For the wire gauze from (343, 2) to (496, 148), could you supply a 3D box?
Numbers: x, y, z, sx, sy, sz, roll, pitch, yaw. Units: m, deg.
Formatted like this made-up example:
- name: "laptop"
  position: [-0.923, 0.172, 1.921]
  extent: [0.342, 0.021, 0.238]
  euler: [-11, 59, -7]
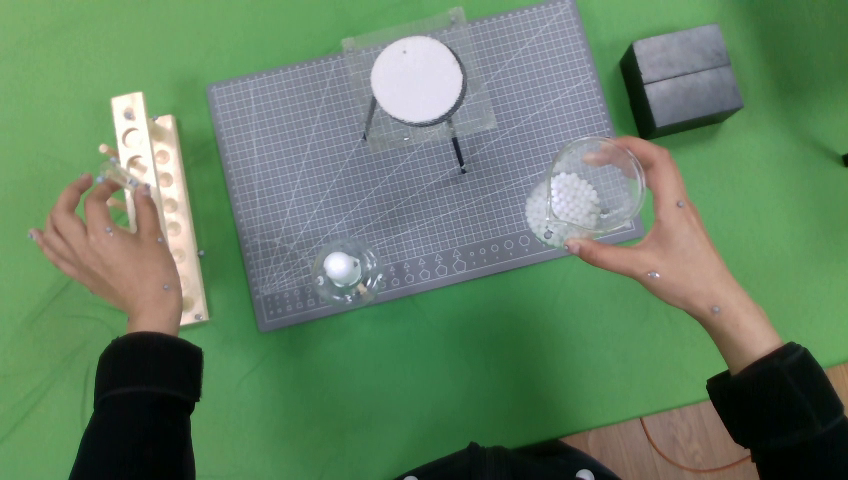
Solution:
- name: "wire gauze"
  position: [-0.005, -0.156, 0.575]
  extent: [0.125, 0.011, 0.121]
  euler: [-13, 84, -1]

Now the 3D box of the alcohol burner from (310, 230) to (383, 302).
- name: "alcohol burner"
  position: [-0.083, 0.026, 0.631]
  extent: [0.078, 0.119, 0.077]
  euler: [0, 82, 0]

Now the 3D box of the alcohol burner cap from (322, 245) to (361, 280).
- name: "alcohol burner cap"
  position: [-0.083, 0.021, 0.596]
  extent: [0.034, 0.048, 0.033]
  euler: [-1, 80, 6]

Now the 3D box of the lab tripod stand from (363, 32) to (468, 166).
- name: "lab tripod stand"
  position: [-0.002, -0.152, 0.641]
  extent: [0.148, 0.132, 0.148]
  euler: [0, 81, 2]

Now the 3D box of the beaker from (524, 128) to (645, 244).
- name: "beaker"
  position: [0.123, -0.036, 0.495]
  extent: [0.084, 0.100, 0.074]
  euler: [-38, 84, -8]

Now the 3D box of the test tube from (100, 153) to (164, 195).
- name: "test tube"
  position: [-0.282, -0.060, 0.593]
  extent: [0.017, 0.150, 0.017]
  euler: [1, 84, -8]

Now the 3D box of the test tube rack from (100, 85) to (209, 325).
- name: "test tube rack"
  position: [-0.300, -0.033, 0.657]
  extent: [0.067, 0.085, 0.241]
  euler: [-12, 83, 0]
